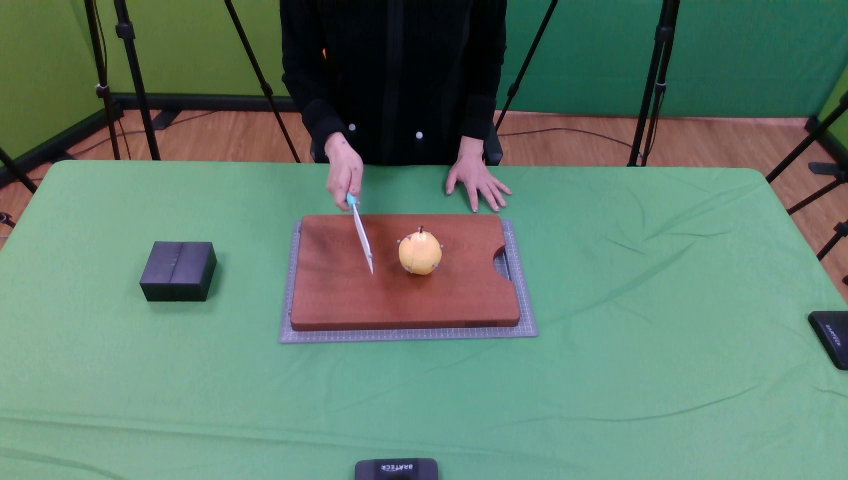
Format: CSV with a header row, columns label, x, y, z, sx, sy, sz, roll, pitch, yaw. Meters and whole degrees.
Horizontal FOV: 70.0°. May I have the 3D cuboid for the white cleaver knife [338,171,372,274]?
label,x,y,z,sx,sy,sz,roll,pitch,yaw
white cleaver knife,-0.125,-0.038,1.079,0.021,0.066,0.284,-9,36,-11

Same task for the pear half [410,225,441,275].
label,x,y,z,sx,sy,sz,roll,pitch,yaw
pear half,0.004,0.013,1.085,0.056,0.110,0.076,2,51,-3

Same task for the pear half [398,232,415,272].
label,x,y,z,sx,sy,sz,roll,pitch,yaw
pear half,-0.031,0.018,1.092,0.031,0.088,0.070,1,51,-1
